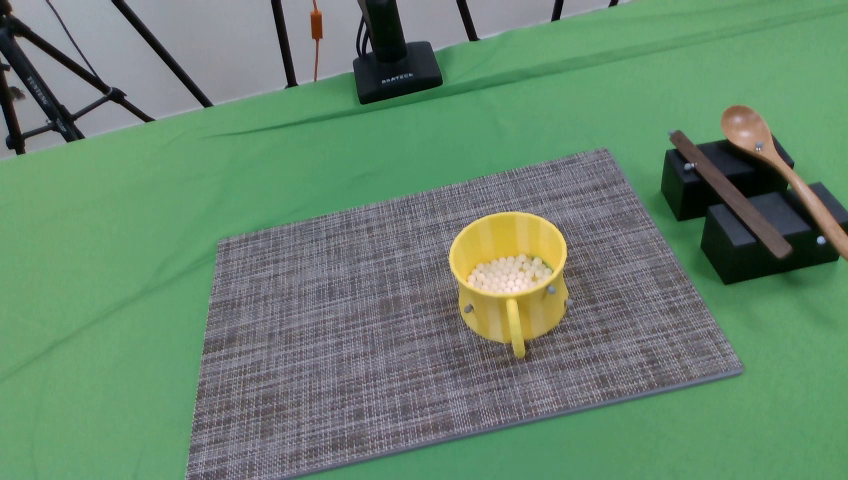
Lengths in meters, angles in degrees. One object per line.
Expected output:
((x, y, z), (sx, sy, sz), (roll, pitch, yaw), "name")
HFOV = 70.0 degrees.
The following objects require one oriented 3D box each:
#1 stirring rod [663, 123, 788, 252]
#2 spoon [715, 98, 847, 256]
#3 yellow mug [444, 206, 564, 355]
((0.259, -0.053, 0.533), (0.014, 0.006, 0.174), (-45, 40, 24), "stirring rod")
((0.309, -0.061, 0.525), (0.041, 0.022, 0.191), (-12, 47, 0), "spoon")
((0.072, 0.038, 0.521), (0.100, 0.064, 0.129), (-8, 46, 7), "yellow mug")
